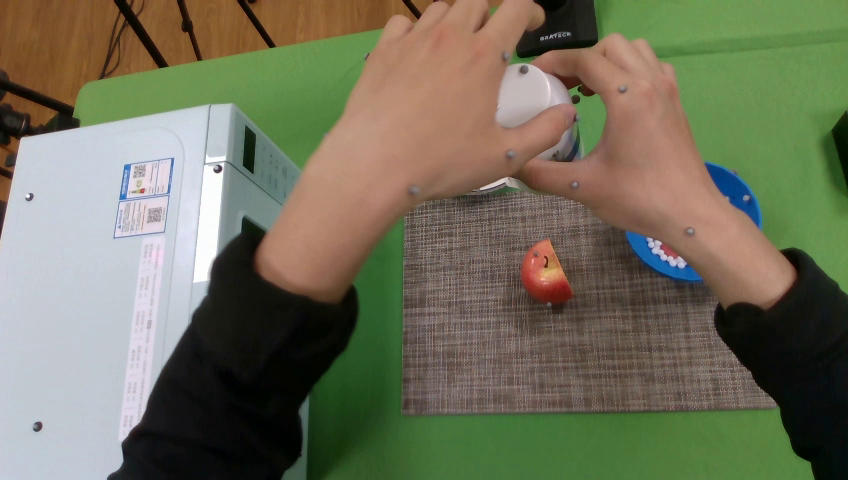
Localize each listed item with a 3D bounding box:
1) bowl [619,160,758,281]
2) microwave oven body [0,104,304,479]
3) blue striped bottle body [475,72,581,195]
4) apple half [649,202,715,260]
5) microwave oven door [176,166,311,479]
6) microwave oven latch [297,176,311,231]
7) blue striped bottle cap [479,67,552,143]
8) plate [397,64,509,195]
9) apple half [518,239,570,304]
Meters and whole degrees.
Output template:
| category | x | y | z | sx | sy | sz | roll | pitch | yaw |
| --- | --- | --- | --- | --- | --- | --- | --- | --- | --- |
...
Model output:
| category | x | y | z | sx | sy | sz | roll | pitch | yaw |
| --- | --- | --- | --- | --- | --- | --- | --- | --- | --- |
| bowl | 0.317 | -0.014 | 0.744 | 0.151 | 0.077 | 0.150 | -5 | 71 | 14 |
| microwave oven body | -0.345 | 0.099 | 0.778 | 0.325 | 0.262 | 0.438 | -6 | 71 | 12 |
| blue striped bottle body | 0.075 | -0.077 | 0.432 | 0.063 | 0.121 | 0.063 | -4 | 78 | 19 |
| apple half | 0.317 | -0.014 | 0.739 | 0.081 | 0.033 | 0.080 | -5 | 69 | 13 |
| microwave oven door | -0.203 | 0.121 | 0.729 | 0.039 | 0.246 | 0.353 | -7 | 70 | 13 |
| microwave oven latch | -0.182 | -0.053 | 0.892 | 0.030 | 0.030 | 0.078 | -8 | 71 | 11 |
| blue striped bottle cap | 0.058 | -0.085 | 0.383 | 0.044 | 0.021 | 0.044 | -4 | 80 | 22 |
| plate | 0.066 | -0.157 | 0.883 | 0.207 | 0.039 | 0.206 | -4 | 71 | 13 |
| apple half | 0.147 | 0.046 | 0.771 | 0.053 | 0.075 | 0.080 | -25 | 71 | 9 |
